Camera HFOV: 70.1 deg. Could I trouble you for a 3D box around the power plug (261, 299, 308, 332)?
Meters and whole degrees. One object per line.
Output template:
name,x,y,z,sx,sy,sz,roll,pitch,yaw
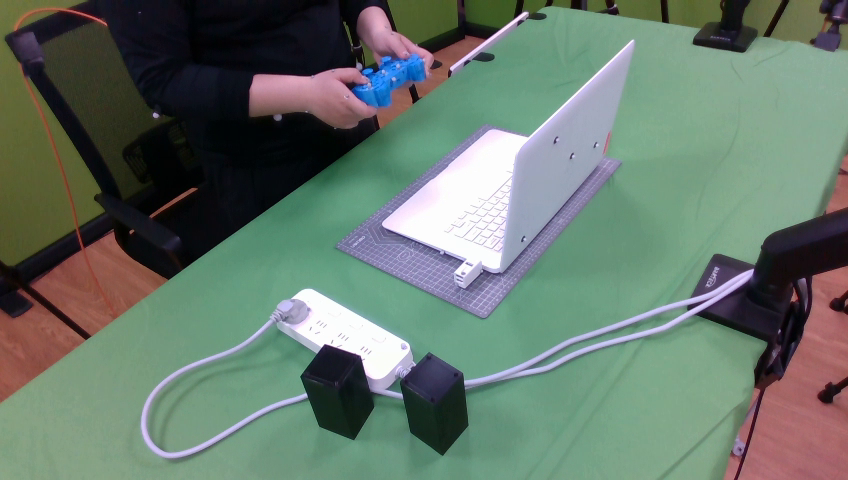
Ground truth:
power plug,-0.193,0.109,0.830,0.073,0.053,0.035,-35,47,-23

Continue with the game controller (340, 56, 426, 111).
game controller,-0.068,-0.271,1.028,0.096,0.052,0.155,17,48,38

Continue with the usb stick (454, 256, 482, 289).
usb stick,0.069,0.044,0.891,0.021,0.027,0.059,22,44,32

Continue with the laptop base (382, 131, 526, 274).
laptop base,0.123,-0.081,1.049,0.233,0.023,0.355,20,47,33

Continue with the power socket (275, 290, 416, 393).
power socket,-0.114,0.133,0.821,0.225,0.033,0.072,24,48,32

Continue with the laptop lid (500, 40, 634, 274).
laptop lid,0.218,-0.128,0.906,0.013,0.242,0.358,28,50,25
